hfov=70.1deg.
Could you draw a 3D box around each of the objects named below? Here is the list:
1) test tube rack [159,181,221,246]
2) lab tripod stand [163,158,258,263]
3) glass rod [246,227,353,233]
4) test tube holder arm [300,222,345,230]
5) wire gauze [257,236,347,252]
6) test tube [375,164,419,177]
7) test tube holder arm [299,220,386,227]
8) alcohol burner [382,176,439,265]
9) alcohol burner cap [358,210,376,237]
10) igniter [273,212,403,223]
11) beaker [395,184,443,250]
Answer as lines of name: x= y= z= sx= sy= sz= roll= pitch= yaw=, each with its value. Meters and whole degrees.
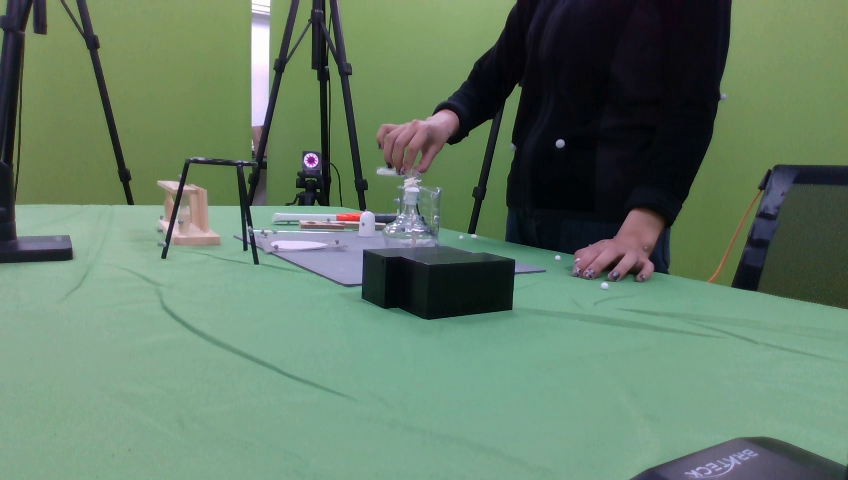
test tube rack: x=-0.395 y=-0.050 z=1.010 sx=0.067 sy=0.085 sz=0.241 roll=-2 pitch=8 yaw=-28
lab tripod stand: x=-0.265 y=-0.041 z=0.802 sx=0.148 sy=0.131 sz=0.148 roll=4 pitch=7 yaw=0
glass rod: x=-0.224 y=-0.017 z=1.109 sx=0.201 sy=0.008 sz=0.008 roll=1 pitch=7 yaw=-27
test tube holder arm: x=-0.197 y=-0.027 z=1.170 sx=0.088 sy=0.015 sz=0.010 roll=-1 pitch=44 yaw=-28
wire gauze: x=-0.189 y=0.005 z=0.931 sx=0.122 sy=0.011 sz=0.124 roll=1 pitch=7 yaw=-21
test tube: x=-0.050 y=-0.121 z=1.049 sx=0.017 sy=0.017 sz=0.149 roll=-2 pitch=9 yaw=-29
test tube holder arm: x=-0.159 y=-0.032 z=1.195 sx=0.179 sy=0.015 sz=0.013 roll=-1 pitch=44 yaw=-29
alcohol burner: x=-0.018 y=-0.026 z=0.818 sx=0.078 sy=0.119 sz=0.078 roll=3 pitch=9 yaw=0
alcohol burner cap: x=-0.104 y=-0.030 z=1.098 sx=0.034 sy=0.048 sz=0.034 roll=2 pitch=7 yaw=0
igniter: x=-0.179 y=-0.048 z=1.290 sx=0.278 sy=0.025 sz=0.057 roll=-1 pitch=-2 yaw=-24
beaker: x=-0.007 y=-0.037 z=0.964 sx=0.074 sy=0.100 sz=0.083 roll=-4 pitch=11 yaw=-40
